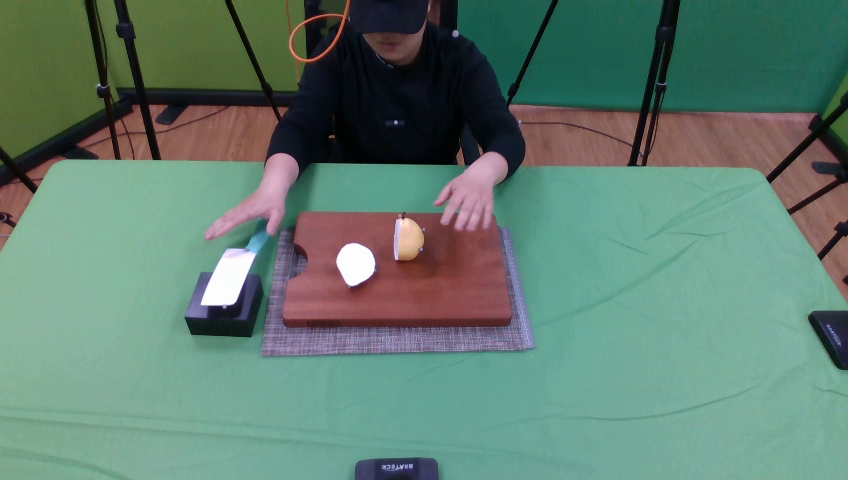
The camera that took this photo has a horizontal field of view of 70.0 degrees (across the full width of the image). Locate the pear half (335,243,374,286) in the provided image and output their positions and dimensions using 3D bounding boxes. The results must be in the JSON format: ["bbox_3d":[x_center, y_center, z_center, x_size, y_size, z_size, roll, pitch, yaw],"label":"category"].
[{"bbox_3d":[-0.127,0.049,1.094,0.070,0.031,0.087,17,58,-8],"label":"pear half"}]

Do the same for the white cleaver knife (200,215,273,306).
[{"bbox_3d":[-0.335,0.029,1.101,0.066,0.021,0.285,6,32,-1],"label":"white cleaver knife"}]

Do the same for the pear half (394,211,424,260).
[{"bbox_3d":[-0.027,-0.013,1.109,0.056,0.110,0.076,-7,51,-10],"label":"pear half"}]
